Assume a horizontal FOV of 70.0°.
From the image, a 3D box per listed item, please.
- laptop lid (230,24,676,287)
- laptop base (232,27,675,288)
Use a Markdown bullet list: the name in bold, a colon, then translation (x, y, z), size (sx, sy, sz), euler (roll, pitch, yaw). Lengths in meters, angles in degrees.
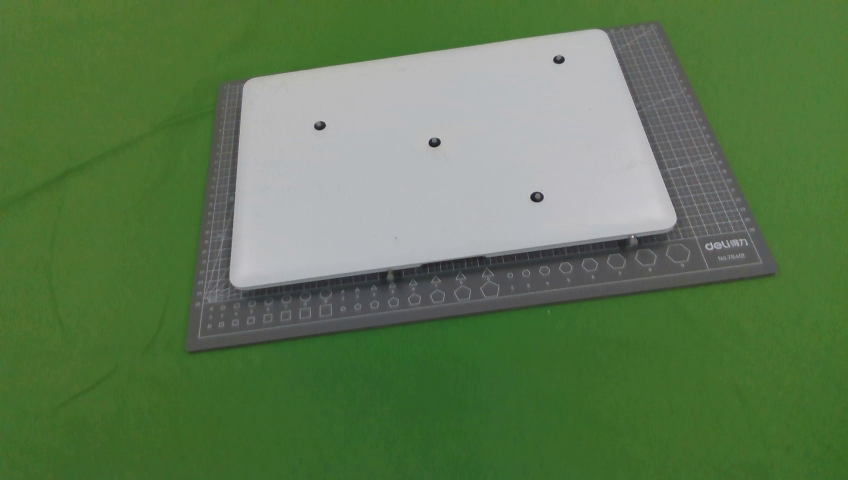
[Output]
- **laptop lid**: translation (0.011, -0.085, 0.524), size (0.357, 0.013, 0.239), euler (-6, 60, 2)
- **laptop base**: translation (0.012, -0.081, 0.535), size (0.354, 0.023, 0.233), euler (-8, 61, 1)
